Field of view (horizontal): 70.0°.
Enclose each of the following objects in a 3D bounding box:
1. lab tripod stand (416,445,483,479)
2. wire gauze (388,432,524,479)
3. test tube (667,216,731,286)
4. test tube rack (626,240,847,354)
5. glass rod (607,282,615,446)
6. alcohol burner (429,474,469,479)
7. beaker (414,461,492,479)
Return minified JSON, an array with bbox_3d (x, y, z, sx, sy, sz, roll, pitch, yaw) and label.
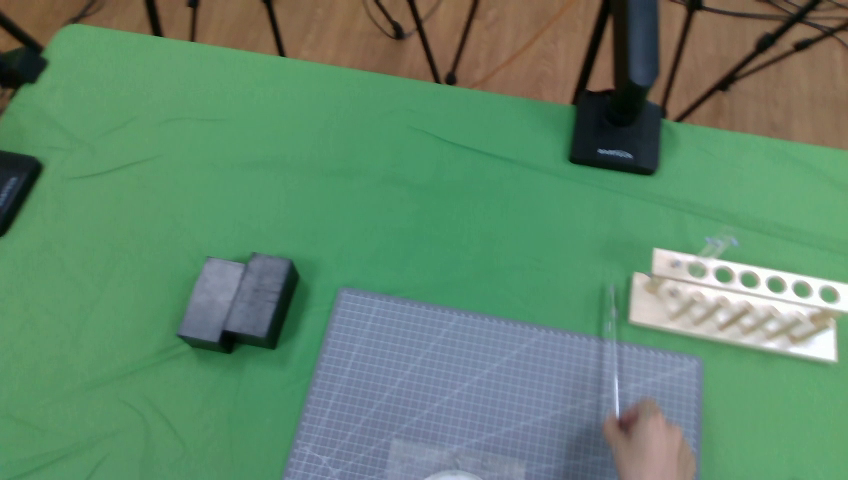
[{"bbox_3d":[0.023,0.269,0.592,0.148,0.132,0.147,-1,64,2],"label":"lab tripod stand"},{"bbox_3d":[0.023,0.238,0.533,0.125,0.011,0.120,7,64,6],"label":"wire gauze"},{"bbox_3d":[0.306,0.017,0.681,0.017,0.151,0.017,0,62,1],"label":"test tube"},{"bbox_3d":[0.374,0.068,0.712,0.242,0.086,0.066,11,66,5],"label":"test tube rack"},{"bbox_3d":[0.218,0.138,0.704,0.008,0.008,0.198,7,60,3],"label":"glass rod"},{"bbox_3d":[0.030,0.267,0.603,0.078,0.120,0.077,1,64,-2],"label":"alcohol burner"},{"bbox_3d":[0.025,0.222,0.487,0.084,0.101,0.073,6,65,3],"label":"beaker"}]
